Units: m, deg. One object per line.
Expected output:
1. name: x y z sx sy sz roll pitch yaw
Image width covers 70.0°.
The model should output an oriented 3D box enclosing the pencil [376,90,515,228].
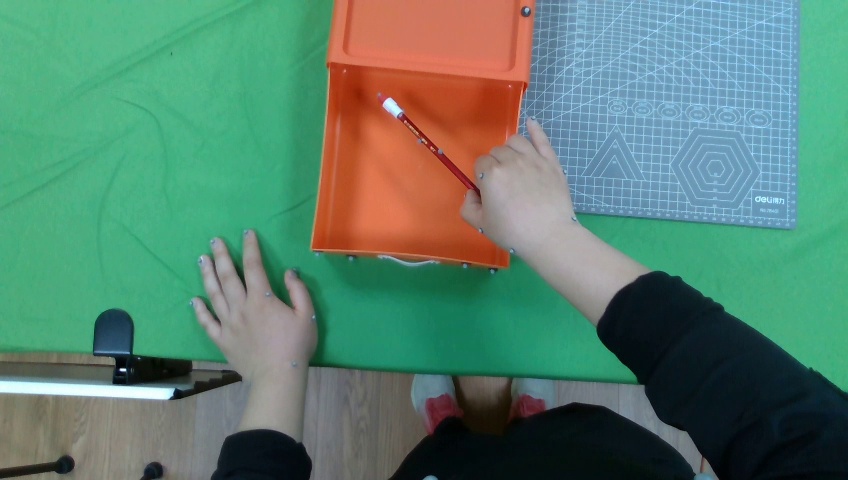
1. pencil: 0.021 -0.080 0.595 0.012 0.012 0.193 -44 82 -4

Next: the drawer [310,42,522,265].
1. drawer: -0.006 -0.082 0.618 0.194 0.073 0.211 5 87 1

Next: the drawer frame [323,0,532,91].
1. drawer frame: 0.009 -0.260 0.631 0.202 0.083 0.213 4 84 1
